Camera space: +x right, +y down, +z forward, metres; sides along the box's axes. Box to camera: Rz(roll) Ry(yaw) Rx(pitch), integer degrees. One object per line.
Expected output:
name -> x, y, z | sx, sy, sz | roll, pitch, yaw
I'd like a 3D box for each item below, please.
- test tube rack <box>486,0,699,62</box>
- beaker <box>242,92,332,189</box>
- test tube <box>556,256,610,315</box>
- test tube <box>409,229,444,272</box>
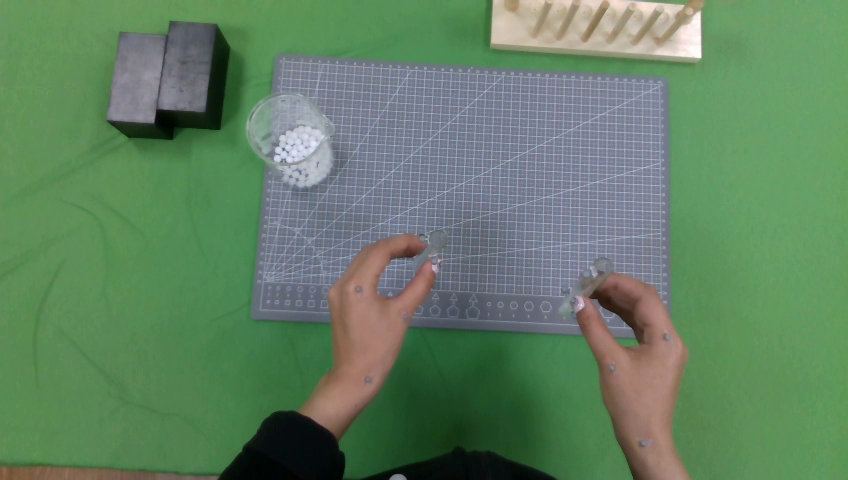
test tube rack -> 0.195, -0.254, 0.670 | 0.242, 0.085, 0.066 | 3, 80, -1
beaker -> -0.133, -0.097, 0.623 | 0.084, 0.100, 0.073 | -5, 81, -3
test tube -> 0.132, 0.042, 0.514 | 0.017, 0.151, 0.017 | 0, 72, 2
test tube -> 0.000, 0.013, 0.553 | 0.017, 0.150, 0.017 | 1, 79, -7
